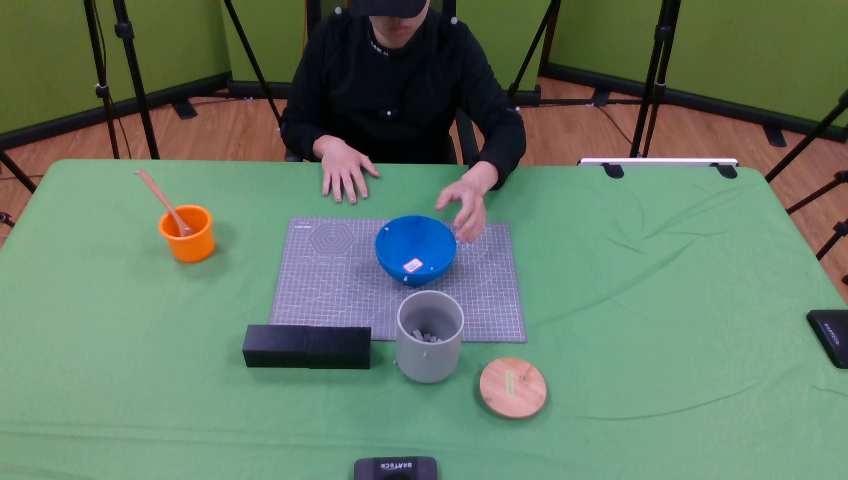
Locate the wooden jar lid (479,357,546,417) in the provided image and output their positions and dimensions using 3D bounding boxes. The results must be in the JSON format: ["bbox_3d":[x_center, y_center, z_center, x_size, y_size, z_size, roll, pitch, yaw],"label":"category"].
[{"bbox_3d":[0.142,0.240,0.979,0.108,0.021,0.107,1,46,-1],"label":"wooden jar lid"}]

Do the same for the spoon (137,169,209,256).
[{"bbox_3d":[-0.466,-0.051,1.123,0.041,0.194,0.021,-40,16,-34],"label":"spoon"}]

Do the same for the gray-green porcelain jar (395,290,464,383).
[{"bbox_3d":[0.006,0.160,0.972,0.106,0.127,0.105,2,46,-2],"label":"gray-green porcelain jar"}]

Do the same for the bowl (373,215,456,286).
[{"bbox_3d":[-0.019,0.032,1.123,0.151,0.077,0.150,2,46,-2],"label":"bowl"}]
